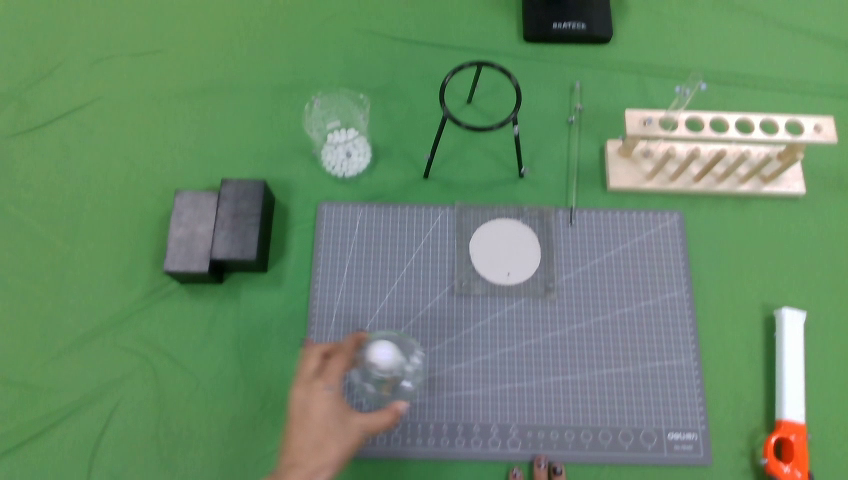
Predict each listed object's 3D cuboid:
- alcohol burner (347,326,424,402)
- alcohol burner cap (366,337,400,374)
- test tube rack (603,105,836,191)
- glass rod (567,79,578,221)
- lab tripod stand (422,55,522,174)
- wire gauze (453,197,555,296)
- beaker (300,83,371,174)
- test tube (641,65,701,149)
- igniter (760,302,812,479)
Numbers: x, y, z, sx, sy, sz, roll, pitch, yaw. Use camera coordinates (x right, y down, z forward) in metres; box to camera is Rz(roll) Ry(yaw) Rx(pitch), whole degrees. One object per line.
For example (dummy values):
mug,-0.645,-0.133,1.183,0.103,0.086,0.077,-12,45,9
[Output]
alcohol burner,-0.039,0.119,0.599,0.078,0.120,0.077,0,68,0
alcohol burner cap,-0.039,0.106,0.565,0.034,0.048,0.033,0,72,-1
test tube rack,0.350,-0.110,0.731,0.242,0.085,0.066,2,71,0
glass rod,0.189,-0.117,0.771,0.008,0.008,0.198,6,73,1
lab tripod stand,0.058,-0.145,0.714,0.148,0.132,0.147,0,70,1
wire gauze,0.095,0.005,0.728,0.125,0.011,0.120,3,71,1
beaker,-0.099,-0.130,0.725,0.084,0.101,0.073,-36,75,-12
test tube,0.278,-0.146,0.691,0.017,0.151,0.017,0,68,1
igniter,0.394,0.203,0.658,0.057,0.025,0.275,14,72,-7
